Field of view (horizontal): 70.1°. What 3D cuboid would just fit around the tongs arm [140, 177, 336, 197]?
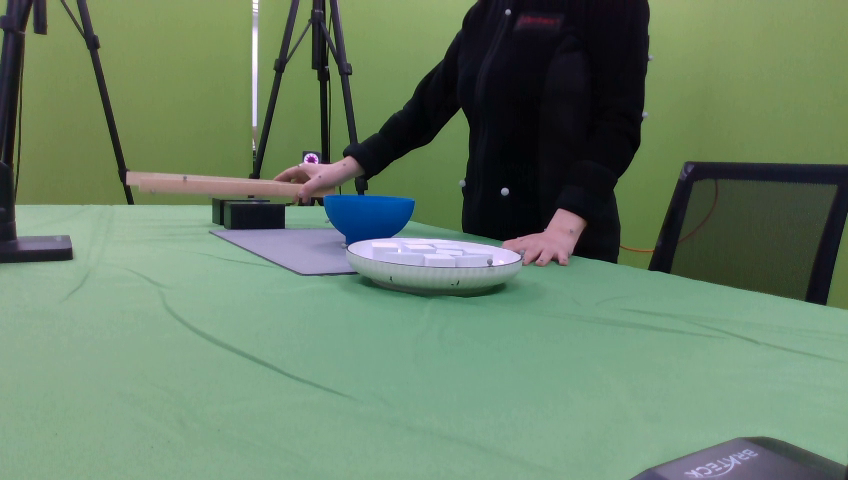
[{"bbox_3d":[-0.332,-0.098,1.142,0.387,0.026,0.050,-1,7,-37],"label":"tongs arm"}]

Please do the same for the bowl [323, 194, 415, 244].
[{"bbox_3d":[-0.091,-0.032,0.986,0.151,0.077,0.151,2,7,0],"label":"bowl"}]

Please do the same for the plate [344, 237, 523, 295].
[{"bbox_3d":[0.010,0.030,0.707,0.208,0.039,0.207,3,8,0],"label":"plate"}]

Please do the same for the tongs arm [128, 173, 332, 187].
[{"bbox_3d":[-0.372,-0.109,1.201,0.389,0.028,0.028,1,3,-27],"label":"tongs arm"}]
